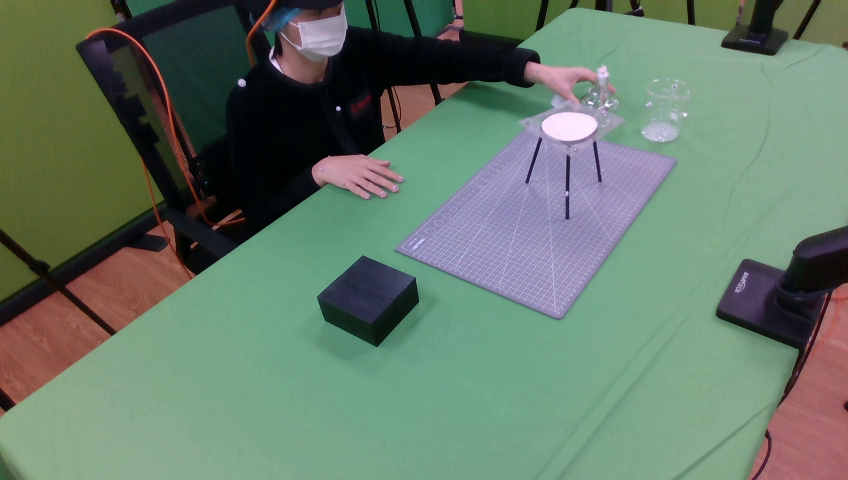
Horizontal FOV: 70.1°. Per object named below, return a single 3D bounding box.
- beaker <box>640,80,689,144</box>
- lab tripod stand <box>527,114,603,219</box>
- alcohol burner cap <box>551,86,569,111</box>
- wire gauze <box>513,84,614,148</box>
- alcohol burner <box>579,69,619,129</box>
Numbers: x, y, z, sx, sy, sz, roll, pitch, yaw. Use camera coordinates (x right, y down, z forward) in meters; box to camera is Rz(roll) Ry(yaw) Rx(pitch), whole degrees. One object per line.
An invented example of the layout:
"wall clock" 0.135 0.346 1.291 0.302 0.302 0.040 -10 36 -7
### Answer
"beaker" 0.446 -0.235 1.126 0.074 0.101 0.083 -34 47 -27
"lab tripod stand" 0.234 -0.129 1.002 0.148 0.132 0.147 -6 40 6
"alcohol burner cap" 0.287 -0.300 1.268 0.034 0.048 0.033 6 44 -6
"wire gauze" 0.220 -0.194 0.951 0.120 0.011 0.125 23 56 25
"alcohol burner" 0.345 -0.280 1.184 0.078 0.119 0.077 -4 42 4
